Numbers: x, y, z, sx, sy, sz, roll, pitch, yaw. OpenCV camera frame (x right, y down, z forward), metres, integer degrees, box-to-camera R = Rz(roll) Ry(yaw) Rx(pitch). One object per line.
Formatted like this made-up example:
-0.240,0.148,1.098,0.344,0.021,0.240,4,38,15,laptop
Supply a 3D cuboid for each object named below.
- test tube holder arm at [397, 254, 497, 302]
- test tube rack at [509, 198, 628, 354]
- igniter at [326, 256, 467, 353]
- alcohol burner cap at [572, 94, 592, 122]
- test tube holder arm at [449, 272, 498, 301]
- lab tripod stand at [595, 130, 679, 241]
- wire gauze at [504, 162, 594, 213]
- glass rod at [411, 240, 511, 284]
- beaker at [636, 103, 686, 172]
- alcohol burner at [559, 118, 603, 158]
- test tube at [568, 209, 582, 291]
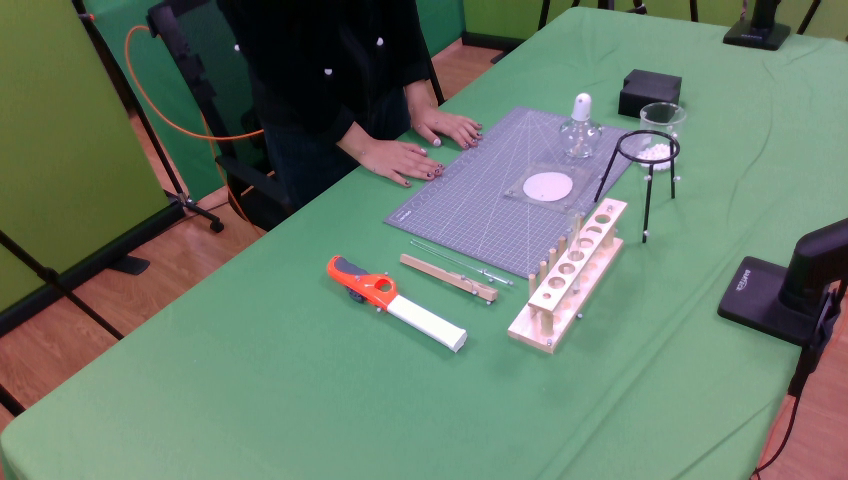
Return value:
0.031,0.054,0.912,0.177,0.015,0.013,21,12,29,test tube holder arm
0.206,0.039,0.850,0.066,0.085,0.243,20,48,30,test tube rack
-0.051,0.088,0.886,0.274,0.025,0.057,26,61,35,igniter
0.284,-0.238,1.079,0.034,0.048,0.033,-1,48,2,alcohol burner cap
0.070,0.068,0.894,0.087,0.015,0.010,22,12,31,test tube holder arm
0.342,-0.095,0.943,0.148,0.132,0.147,-4,39,4,lab tripod stand
0.220,-0.098,1.065,0.124,0.011,0.122,17,47,32,wire gauze
0.053,0.033,0.946,0.198,0.008,0.008,22,50,36,glass rod
0.413,-0.177,1.055,0.084,0.101,0.073,-28,44,-21,beaker
0.287,-0.212,1.104,0.078,0.119,0.077,-4,40,4,alcohol burner
0.200,0.018,0.799,0.017,0.151,0.017,-8,45,8,test tube
